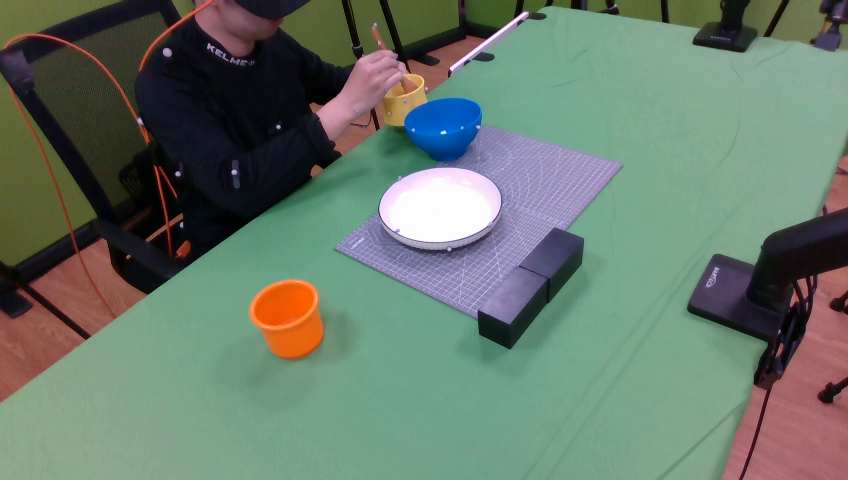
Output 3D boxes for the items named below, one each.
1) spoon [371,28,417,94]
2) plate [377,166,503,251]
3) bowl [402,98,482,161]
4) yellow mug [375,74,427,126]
[{"bbox_3d":[-0.056,-0.327,1.162,0.021,0.195,0.041,17,66,40],"label":"spoon"},{"bbox_3d":[0.027,-0.050,1.007,0.209,0.038,0.208,-4,41,4],"label":"plate"},{"bbox_3d":[0.040,-0.203,1.154,0.151,0.077,0.150,-7,38,6],"label":"bowl"},{"bbox_3d":[-0.048,-0.293,1.239,0.100,0.064,0.130,-20,38,-7],"label":"yellow mug"}]
